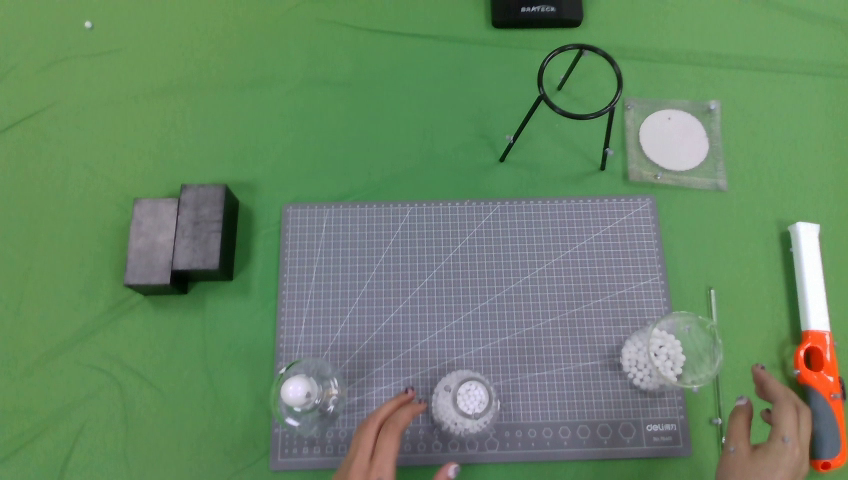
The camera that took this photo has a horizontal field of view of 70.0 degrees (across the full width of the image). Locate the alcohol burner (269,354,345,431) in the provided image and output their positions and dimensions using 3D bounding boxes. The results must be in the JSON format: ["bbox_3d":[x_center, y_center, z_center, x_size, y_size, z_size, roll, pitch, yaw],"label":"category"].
[{"bbox_3d":[-0.121,0.151,0.610,0.078,0.120,0.077,-1,72,2],"label":"alcohol burner"}]

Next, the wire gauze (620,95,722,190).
[{"bbox_3d":[0.309,-0.125,0.757,0.125,0.011,0.121,5,74,-1],"label":"wire gauze"}]

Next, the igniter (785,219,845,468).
[{"bbox_3d":[0.435,0.109,0.677,0.057,0.025,0.275,7,73,-9],"label":"igniter"}]

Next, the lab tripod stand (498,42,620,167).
[{"bbox_3d":[0.158,-0.148,0.697,0.148,0.132,0.147,0,75,0],"label":"lab tripod stand"}]

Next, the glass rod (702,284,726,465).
[{"bbox_3d":[0.323,0.145,0.675,0.008,0.008,0.198,2,73,0],"label":"glass rod"}]

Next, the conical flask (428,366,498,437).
[{"bbox_3d":[0.042,0.158,0.605,0.075,0.122,0.075,0,72,0],"label":"conical flask"}]

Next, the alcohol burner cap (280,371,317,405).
[{"bbox_3d":[-0.121,0.140,0.575,0.034,0.048,0.033,1,76,-4],"label":"alcohol burner cap"}]

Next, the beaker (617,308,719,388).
[{"bbox_3d":[0.251,0.115,0.633,0.084,0.101,0.073,-37,77,-12],"label":"beaker"}]
